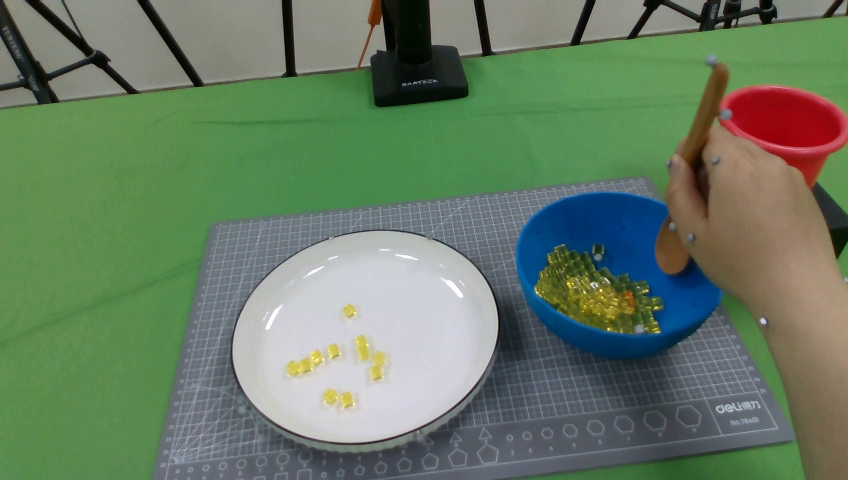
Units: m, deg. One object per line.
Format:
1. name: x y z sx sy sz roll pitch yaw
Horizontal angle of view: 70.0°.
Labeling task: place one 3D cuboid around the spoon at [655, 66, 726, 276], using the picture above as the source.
1. spoon: 0.173 -0.035 0.400 0.021 0.196 0.041 -15 55 6

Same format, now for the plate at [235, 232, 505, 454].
1. plate: -0.040 0.076 0.482 0.207 0.039 0.205 -2 44 3

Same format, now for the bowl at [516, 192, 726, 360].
1. bowl: 0.145 0.040 0.474 0.151 0.077 0.150 -2 44 3
